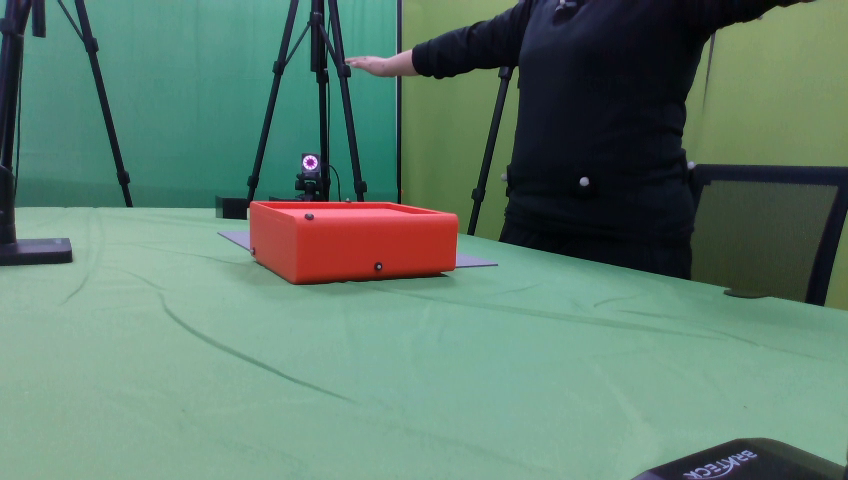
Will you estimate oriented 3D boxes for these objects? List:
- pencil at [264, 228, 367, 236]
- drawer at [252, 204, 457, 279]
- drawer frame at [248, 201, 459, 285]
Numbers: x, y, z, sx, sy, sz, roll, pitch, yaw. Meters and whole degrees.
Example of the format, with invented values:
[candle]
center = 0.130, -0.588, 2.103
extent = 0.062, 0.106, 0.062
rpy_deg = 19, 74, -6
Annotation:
[pencil]
center = -0.195, -0.013, 1.109
extent = 0.195, 0.012, 0.012
rpy_deg = 2, 7, -28
[drawer]
center = -0.095, -0.004, 0.787
extent = 0.213, 0.073, 0.193
rpy_deg = -3, 10, -30
[drawer frame]
center = -0.096, -0.005, 0.785
extent = 0.215, 0.082, 0.200
rpy_deg = -3, 10, -31
